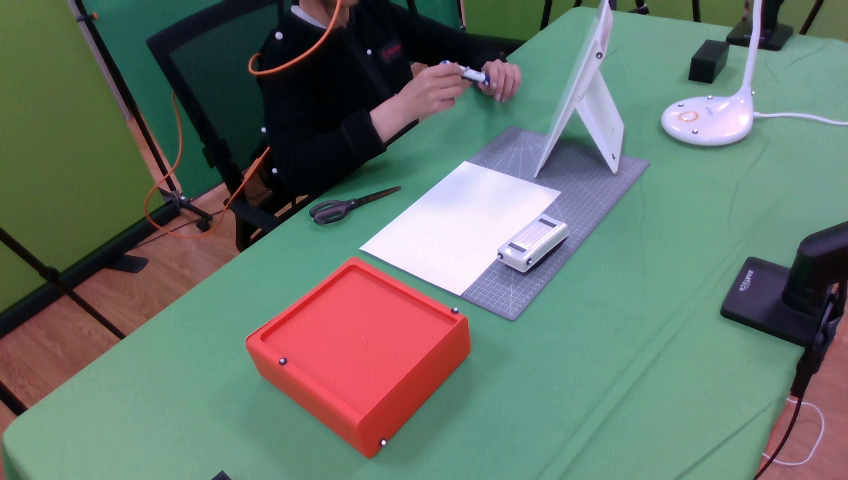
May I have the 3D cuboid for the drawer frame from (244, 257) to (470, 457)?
[{"bbox_3d":[-0.084,0.138,0.788,0.212,0.083,0.202,25,50,33],"label":"drawer frame"}]

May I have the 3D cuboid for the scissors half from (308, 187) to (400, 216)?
[{"bbox_3d":[-0.126,-0.075,1.104,0.176,0.013,0.039,-15,29,-10],"label":"scissors half"}]

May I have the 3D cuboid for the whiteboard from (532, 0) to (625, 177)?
[{"bbox_3d":[0.320,-0.258,1.050,0.144,0.306,0.217,21,45,5],"label":"whiteboard"}]

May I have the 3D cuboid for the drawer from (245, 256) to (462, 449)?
[{"bbox_3d":[-0.089,0.136,0.792,0.210,0.073,0.195,26,51,34],"label":"drawer"}]

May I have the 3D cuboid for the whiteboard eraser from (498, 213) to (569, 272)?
[{"bbox_3d":[0.168,0.006,0.924,0.113,0.042,0.055,-36,48,-28],"label":"whiteboard eraser"}]

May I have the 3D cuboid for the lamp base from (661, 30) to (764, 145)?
[{"bbox_3d":[0.535,-0.287,1.096,0.179,0.181,0.159,-10,40,-4],"label":"lamp base"}]

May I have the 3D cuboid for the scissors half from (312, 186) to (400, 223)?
[{"bbox_3d":[-0.119,-0.066,1.088,0.176,0.013,0.040,-25,38,-24],"label":"scissors half"}]

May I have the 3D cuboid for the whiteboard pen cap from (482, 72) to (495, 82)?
[{"bbox_3d":[0.121,-0.313,1.161,0.033,0.018,0.018,-4,29,-45],"label":"whiteboard pen cap"}]

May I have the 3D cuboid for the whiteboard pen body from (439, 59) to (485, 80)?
[{"bbox_3d":[0.079,-0.312,1.119,0.142,0.017,0.017,1,24,-47],"label":"whiteboard pen body"}]
